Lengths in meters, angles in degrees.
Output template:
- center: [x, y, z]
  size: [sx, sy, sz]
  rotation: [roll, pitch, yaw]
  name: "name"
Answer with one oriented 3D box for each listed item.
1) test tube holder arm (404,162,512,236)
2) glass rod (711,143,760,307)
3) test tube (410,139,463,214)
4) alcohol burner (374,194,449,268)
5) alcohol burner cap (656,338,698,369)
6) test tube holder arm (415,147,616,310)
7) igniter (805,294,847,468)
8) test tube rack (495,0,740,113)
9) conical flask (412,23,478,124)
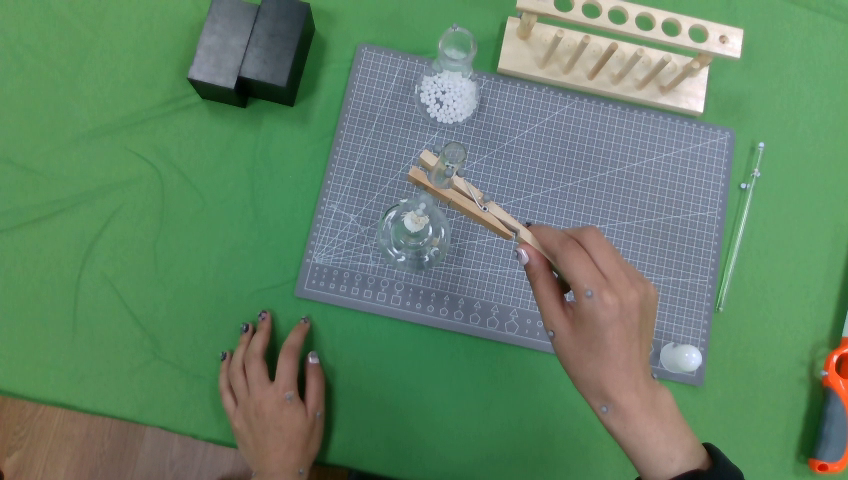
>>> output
- center: [0.026, -0.028, 0.434]
  size: [0.088, 0.015, 0.010]
  rotation: [30, 80, -2]
  name: "test tube holder arm"
- center: [0.354, -0.019, 0.688]
  size: [0.008, 0.008, 0.199]
  rotation: [19, 82, 0]
  name: "glass rod"
- center: [0.006, -0.043, 0.447]
  size: [0.017, 0.150, 0.017]
  rotation: [2, 79, -9]
  name: "test tube"
- center: [-0.013, -0.013, 0.607]
  size: [0.078, 0.119, 0.077]
  rotation: [0, 78, -2]
  name: "alcohol burner"
- center: [0.270, 0.119, 0.640]
  size: [0.034, 0.048, 0.033]
  rotation: [1, 79, -3]
  name: "alcohol burner cap"
- center: [0.066, -0.008, 0.436]
  size: [0.178, 0.015, 0.013]
  rotation: [37, 81, -1]
  name: "test tube holder arm"
- center: [0.467, 0.116, 0.663]
  size: [0.057, 0.025, 0.275]
  rotation: [23, 80, -10]
  name: "igniter"
- center: [0.209, -0.213, 0.674]
  size: [0.242, 0.085, 0.066]
  rotation: [12, 80, -2]
  name: "test tube rack"
- center: [0.026, -0.177, 0.633]
  size: [0.075, 0.122, 0.075]
  rotation: [1, 80, -3]
  name: "conical flask"
